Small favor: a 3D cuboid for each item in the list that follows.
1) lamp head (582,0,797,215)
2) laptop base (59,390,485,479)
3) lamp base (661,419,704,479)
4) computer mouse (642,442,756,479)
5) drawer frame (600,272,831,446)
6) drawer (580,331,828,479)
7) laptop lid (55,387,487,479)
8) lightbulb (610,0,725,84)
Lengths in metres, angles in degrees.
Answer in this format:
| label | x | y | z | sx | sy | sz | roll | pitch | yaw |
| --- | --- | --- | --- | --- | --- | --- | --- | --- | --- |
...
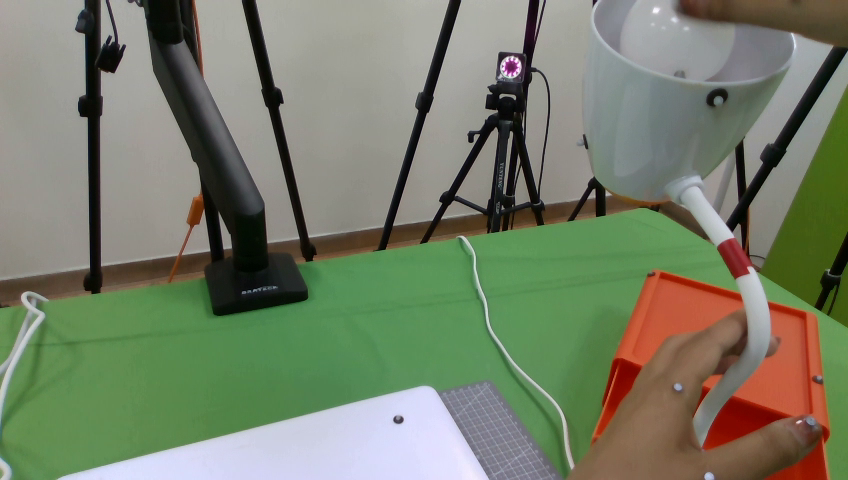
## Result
| label | x | y | z | sx | sy | sz | roll | pitch | yaw |
| --- | --- | --- | --- | --- | --- | --- | --- | --- | --- |
| lamp head | 0.150 | -0.076 | 0.377 | 0.112 | 0.124 | 0.111 | -1 | 44 | 1 |
| laptop base | -0.110 | 0.243 | 0.492 | 0.356 | 0.023 | 0.233 | -8 | 34 | -23 |
| lamp base | 0.168 | 0.222 | 0.395 | 0.161 | 0.181 | 0.177 | 1 | 26 | -8 |
| computer mouse | 0.253 | 0.223 | 0.548 | 0.117 | 0.041 | 0.062 | 15 | 30 | 14 |
| drawer frame | 0.325 | 0.138 | 0.682 | 0.200 | 0.083 | 0.213 | 16 | 30 | 22 |
| drawer | 0.275 | 0.185 | 0.593 | 0.193 | 0.074 | 0.211 | 15 | 29 | 21 |
| laptop lid | -0.108 | 0.233 | 0.484 | 0.358 | 0.013 | 0.239 | -8 | 33 | -21 |
| lightbulb | 0.133 | -0.097 | 0.360 | 0.060 | 0.108 | 0.059 | 6 | 52 | -7 |
